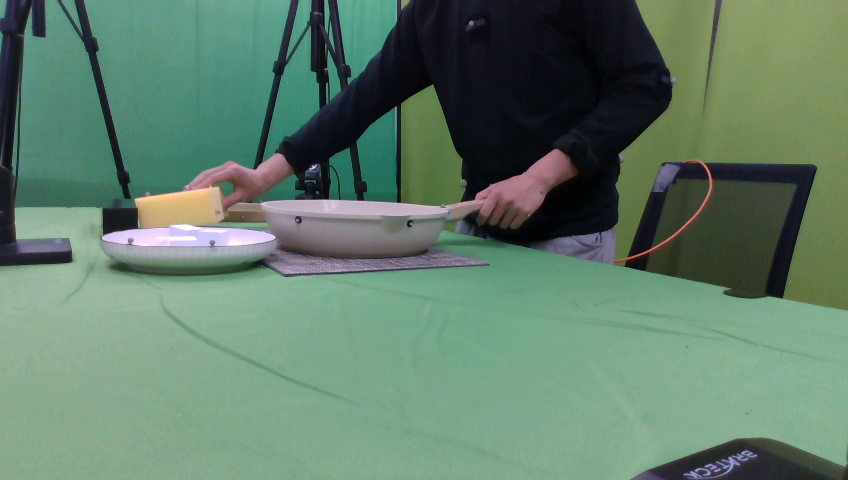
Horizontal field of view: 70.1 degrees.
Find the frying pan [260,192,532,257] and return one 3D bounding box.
[{"bbox_3d":[-0.017,-0.044,1.006,0.490,0.102,0.305,-11,13,-26],"label":"frying pan"}]

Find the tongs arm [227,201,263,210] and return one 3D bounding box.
[{"bbox_3d":[-0.306,-0.070,1.430,0.386,0.026,0.050,2,8,-15],"label":"tongs arm"}]

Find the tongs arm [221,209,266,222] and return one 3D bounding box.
[{"bbox_3d":[-0.280,-0.055,1.355,0.389,0.028,0.028,-1,6,-28],"label":"tongs arm"}]

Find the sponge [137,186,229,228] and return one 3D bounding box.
[{"bbox_3d":[-0.429,-0.057,1.097,0.118,0.061,0.206,-10,9,-11],"label":"sponge"}]

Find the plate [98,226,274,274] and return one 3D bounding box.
[{"bbox_3d":[-0.301,0.012,0.778,0.208,0.039,0.207,2,7,0],"label":"plate"}]
